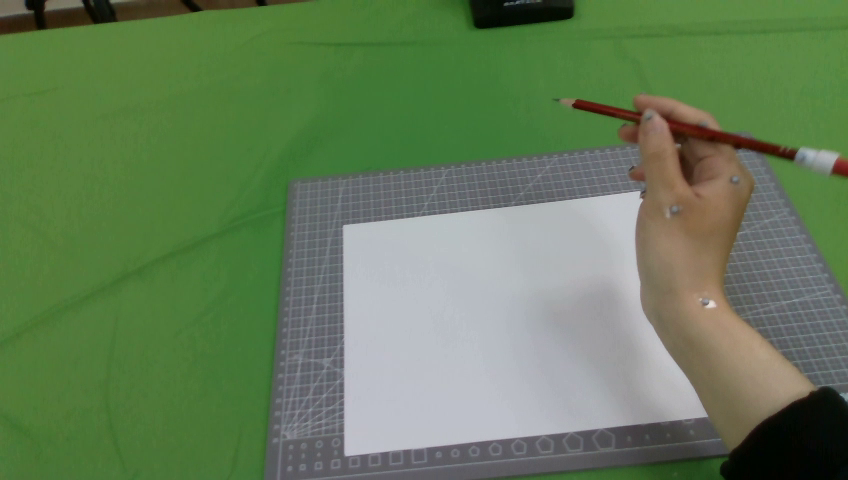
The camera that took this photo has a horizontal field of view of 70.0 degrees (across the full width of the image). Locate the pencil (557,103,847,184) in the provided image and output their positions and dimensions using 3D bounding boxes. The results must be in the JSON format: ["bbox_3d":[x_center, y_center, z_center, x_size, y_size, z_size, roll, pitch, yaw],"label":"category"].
[{"bbox_3d":[0.164,-0.067,0.384,0.192,0.012,0.012,27,59,40],"label":"pencil"}]
